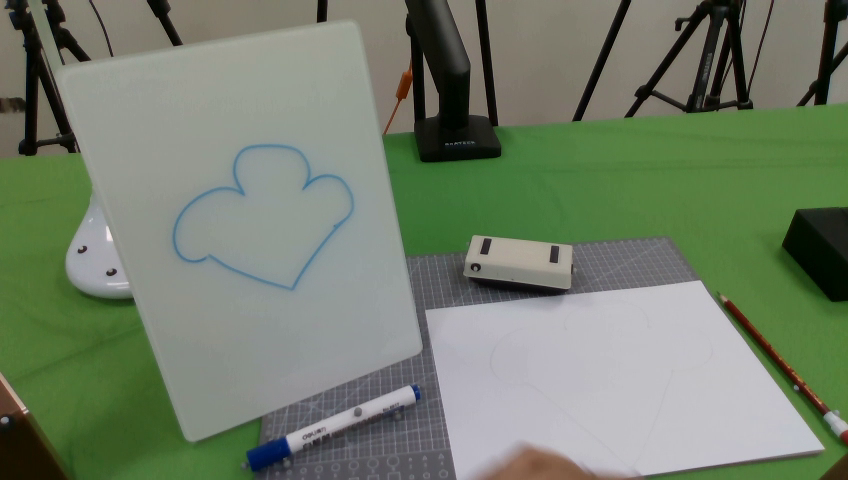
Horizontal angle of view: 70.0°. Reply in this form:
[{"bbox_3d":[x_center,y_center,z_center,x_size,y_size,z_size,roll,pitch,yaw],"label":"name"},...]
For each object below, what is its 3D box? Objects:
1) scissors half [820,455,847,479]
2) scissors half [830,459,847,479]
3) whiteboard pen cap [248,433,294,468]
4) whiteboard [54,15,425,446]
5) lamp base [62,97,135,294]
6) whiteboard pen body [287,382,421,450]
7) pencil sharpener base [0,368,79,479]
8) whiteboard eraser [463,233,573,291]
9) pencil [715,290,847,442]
[{"bbox_3d":[0.164,0.171,0.295,0.013,0.175,0.040,29,6,-11],"label":"scissors half"},{"bbox_3d":[0.165,0.165,0.314,0.013,0.175,0.040,31,23,-6],"label":"scissors half"},{"bbox_3d":[-0.120,0.166,0.478,0.033,0.018,0.018,-19,40,-20],"label":"whiteboard pen cap"},{"bbox_3d":[-0.148,-0.019,0.543,0.218,0.307,0.142,-18,21,-20],"label":"whiteboard"},{"bbox_3d":[-0.333,-0.058,0.654,0.178,0.182,0.160,21,42,30],"label":"lamp base"},{"bbox_3d":[-0.067,0.148,0.498,0.141,0.017,0.017,-18,40,-20],"label":"whiteboard pen body"},{"bbox_3d":[-0.306,0.158,0.426,0.061,0.108,0.076,28,46,33],"label":"pencil sharpener base"},{"bbox_3d":[0.101,0.024,0.647,0.112,0.042,0.055,7,38,10],"label":"whiteboard eraser"},{"bbox_3d":[0.327,0.108,0.563,0.012,0.012,0.192,-8,36,-9],"label":"pencil"}]
